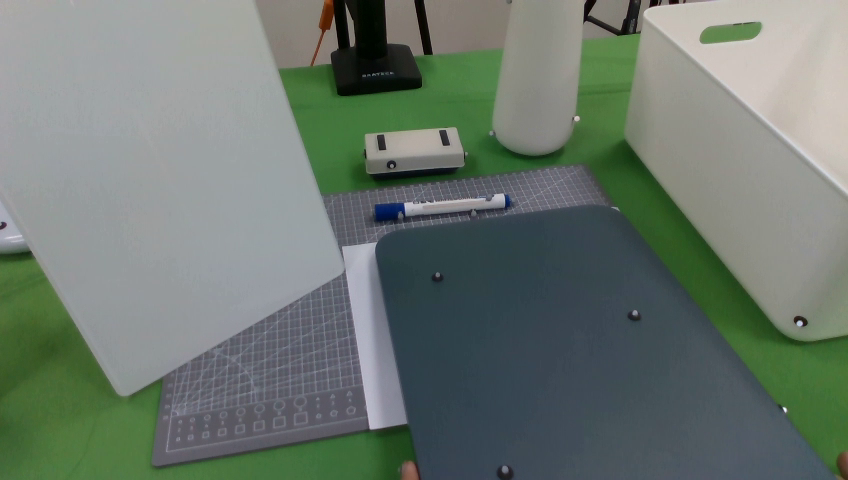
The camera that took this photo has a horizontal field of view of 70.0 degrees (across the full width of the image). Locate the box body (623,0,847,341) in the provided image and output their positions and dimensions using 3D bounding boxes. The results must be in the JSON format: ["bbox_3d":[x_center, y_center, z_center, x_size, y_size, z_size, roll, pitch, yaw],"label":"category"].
[{"bbox_3d":[0.388,-0.091,0.598,0.254,0.162,0.360,-9,43,-8],"label":"box body"}]

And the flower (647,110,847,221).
[{"bbox_3d":[0.402,-0.052,0.651,0.044,0.038,0.358,-27,50,-33],"label":"flower"}]

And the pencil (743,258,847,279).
[{"bbox_3d":[0.400,0.033,0.566,0.194,0.012,0.012,7,43,6],"label":"pencil"}]

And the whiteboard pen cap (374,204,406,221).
[{"bbox_3d":[-0.035,-0.029,0.637,0.033,0.018,0.018,-3,42,-7],"label":"whiteboard pen cap"}]

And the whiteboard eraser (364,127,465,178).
[{"bbox_3d":[-0.012,-0.099,0.700,0.113,0.042,0.055,-7,40,-6],"label":"whiteboard eraser"}]

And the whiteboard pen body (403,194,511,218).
[{"bbox_3d":[0.023,-0.035,0.644,0.141,0.017,0.017,-6,42,-5],"label":"whiteboard pen body"}]

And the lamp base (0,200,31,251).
[{"bbox_3d":[-0.427,-0.106,0.605,0.178,0.182,0.160,20,46,24],"label":"lamp base"}]

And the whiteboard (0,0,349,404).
[{"bbox_3d":[-0.228,-0.066,0.510,0.217,0.308,0.142,-30,30,-28],"label":"whiteboard"}]

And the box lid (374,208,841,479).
[{"bbox_3d":[0.107,0.086,0.485,0.264,0.015,0.367,-7,36,-8],"label":"box lid"}]

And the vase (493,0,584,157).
[{"bbox_3d":[0.133,-0.195,0.687,0.098,0.202,0.097,1,42,0],"label":"vase"}]
